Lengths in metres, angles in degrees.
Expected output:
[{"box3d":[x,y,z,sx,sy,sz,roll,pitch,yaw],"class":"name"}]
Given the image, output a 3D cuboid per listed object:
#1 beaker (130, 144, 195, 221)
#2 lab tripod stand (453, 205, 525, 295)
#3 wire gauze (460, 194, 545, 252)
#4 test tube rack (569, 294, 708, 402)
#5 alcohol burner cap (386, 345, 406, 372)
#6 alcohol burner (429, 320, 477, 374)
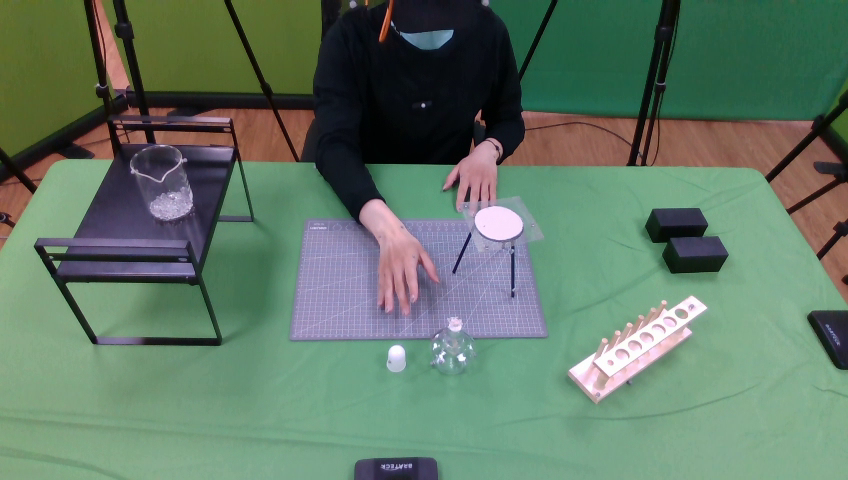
[{"box3d":[-0.403,-0.085,0.944,0.074,0.101,0.083,-15,50,-17],"class":"beaker"},{"box3d":[0.131,0.010,1.111,0.148,0.132,0.147,1,45,-1],"class":"lab tripod stand"},{"box3d":[0.136,-0.035,1.061,0.121,0.011,0.124,-9,47,-12],"class":"wire gauze"},{"box3d":[0.360,0.167,1.014,0.242,0.085,0.066,-25,53,-25],"class":"test tube rack"},{"box3d":[-0.046,0.192,0.995,0.034,0.048,0.033,3,46,-3],"class":"alcohol burner cap"},{"box3d":[0.048,0.164,0.977,0.078,0.120,0.077,2,48,-2],"class":"alcohol burner"}]
